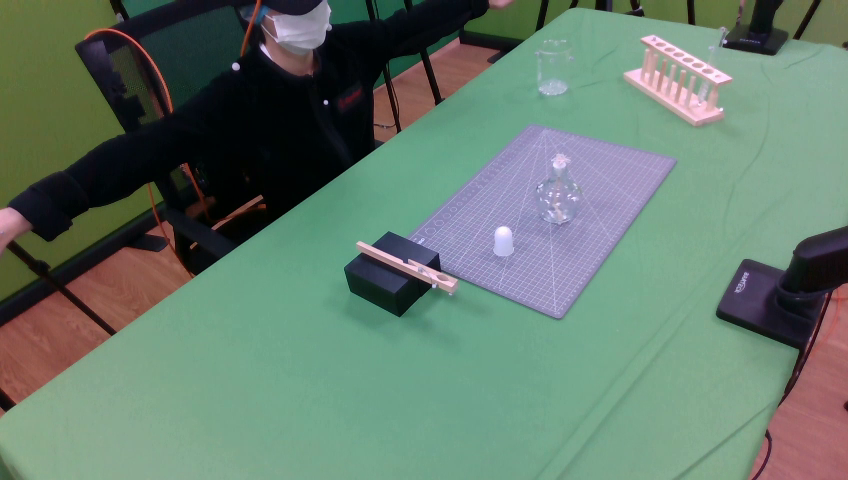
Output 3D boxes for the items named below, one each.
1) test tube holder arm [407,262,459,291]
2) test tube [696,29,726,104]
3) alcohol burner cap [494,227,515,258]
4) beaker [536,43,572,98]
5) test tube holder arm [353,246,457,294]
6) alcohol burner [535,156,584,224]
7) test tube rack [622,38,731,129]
[{"bbox_3d":[0.010,0.051,0.845,0.087,0.015,0.010,19,36,28],"label":"test tube holder arm"},{"bbox_3d":[0.544,-0.326,1.150,0.017,0.151,0.017,-1,41,1],"label":"test tube"},{"bbox_3d":[0.124,0.001,0.936,0.034,0.048,0.033,-4,40,4],"label":"alcohol burner cap"},{"bbox_3d":[0.280,-0.368,1.311,0.074,0.101,0.084,4,41,14],"label":"beaker"},{"bbox_3d":[-0.031,0.041,0.862,0.177,0.015,0.013,18,35,27],"label":"test tube holder arm"},{"bbox_3d":[0.217,-0.085,0.967,0.078,0.119,0.077,-3,41,3],"label":"alcohol burner"},{"bbox_3d":[0.506,-0.325,1.234,0.067,0.085,0.240,-18,41,-11],"label":"test tube rack"}]
